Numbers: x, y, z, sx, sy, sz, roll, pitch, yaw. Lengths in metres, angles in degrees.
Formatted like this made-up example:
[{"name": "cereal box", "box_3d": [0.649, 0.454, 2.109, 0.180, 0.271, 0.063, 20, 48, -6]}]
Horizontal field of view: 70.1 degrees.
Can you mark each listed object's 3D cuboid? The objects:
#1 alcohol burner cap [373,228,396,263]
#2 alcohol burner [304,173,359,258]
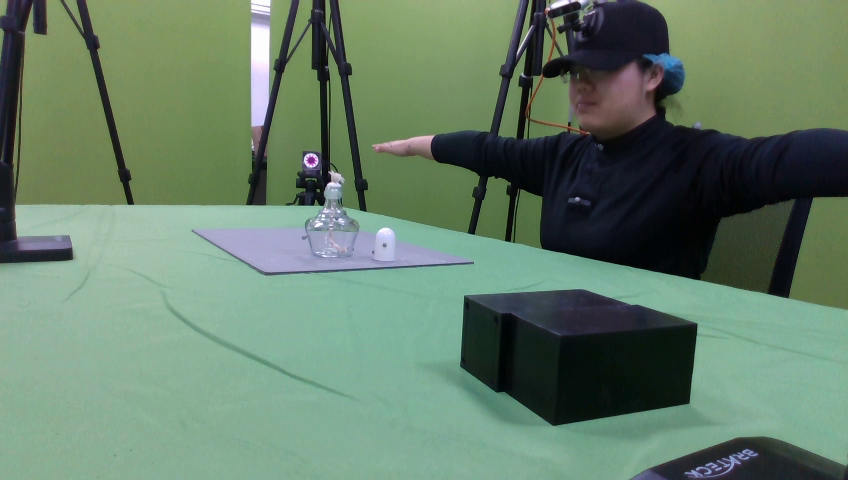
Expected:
[{"name": "alcohol burner cap", "box_3d": [-0.054, 0.007, 0.836, 0.034, 0.048, 0.034, 3, 7, 0]}, {"name": "alcohol burner", "box_3d": [-0.129, -0.035, 0.852, 0.078, 0.119, 0.078, 2, 5, 0]}]
